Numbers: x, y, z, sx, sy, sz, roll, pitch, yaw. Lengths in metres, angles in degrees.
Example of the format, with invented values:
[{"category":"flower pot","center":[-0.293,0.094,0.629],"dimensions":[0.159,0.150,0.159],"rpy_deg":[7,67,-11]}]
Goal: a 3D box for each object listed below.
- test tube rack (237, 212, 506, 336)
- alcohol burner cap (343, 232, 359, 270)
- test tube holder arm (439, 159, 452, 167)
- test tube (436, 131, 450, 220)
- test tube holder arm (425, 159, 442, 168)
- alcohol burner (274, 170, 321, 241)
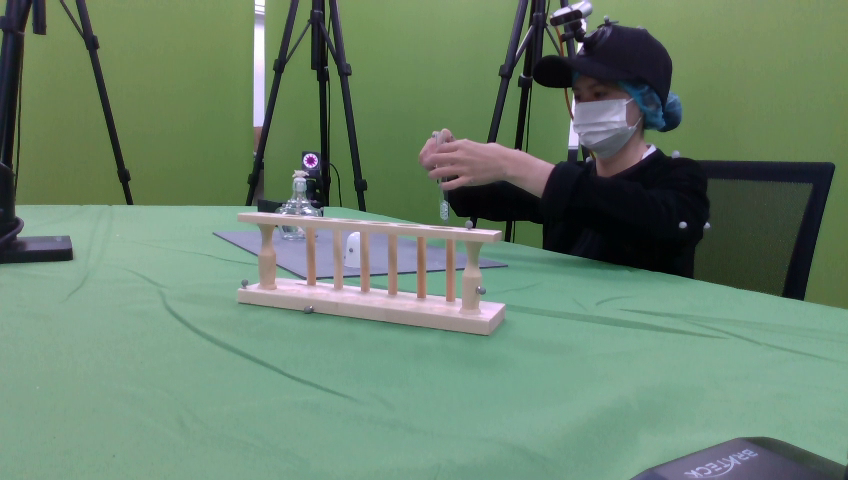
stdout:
[{"category":"test tube rack","center":[-0.049,0.024,0.552],"dimensions":[0.242,0.085,0.067],"rpy_deg":[5,8,18]},{"category":"alcohol burner cap","center":[-0.087,0.013,0.776],"dimensions":[0.034,0.048,0.034],"rpy_deg":[3,7,0]},{"category":"test tube holder arm","center":[0.030,-0.133,1.045],"dimensions":[0.010,0.015,0.087],"rpy_deg":[-2,8,-16]},{"category":"test tube","center":[0.032,-0.109,1.024],"dimensions":[0.017,0.150,0.017],"rpy_deg":[-4,6,1]},{"category":"test tube holder arm","center":[0.016,-0.139,1.088],"dimensions":[0.013,0.015,0.178],"rpy_deg":[0,8,-8]},{"category":"alcohol burner","center":[-0.212,-0.058,1.015],"dimensions":[0.078,0.119,0.078],"rpy_deg":[4,5,0]}]
